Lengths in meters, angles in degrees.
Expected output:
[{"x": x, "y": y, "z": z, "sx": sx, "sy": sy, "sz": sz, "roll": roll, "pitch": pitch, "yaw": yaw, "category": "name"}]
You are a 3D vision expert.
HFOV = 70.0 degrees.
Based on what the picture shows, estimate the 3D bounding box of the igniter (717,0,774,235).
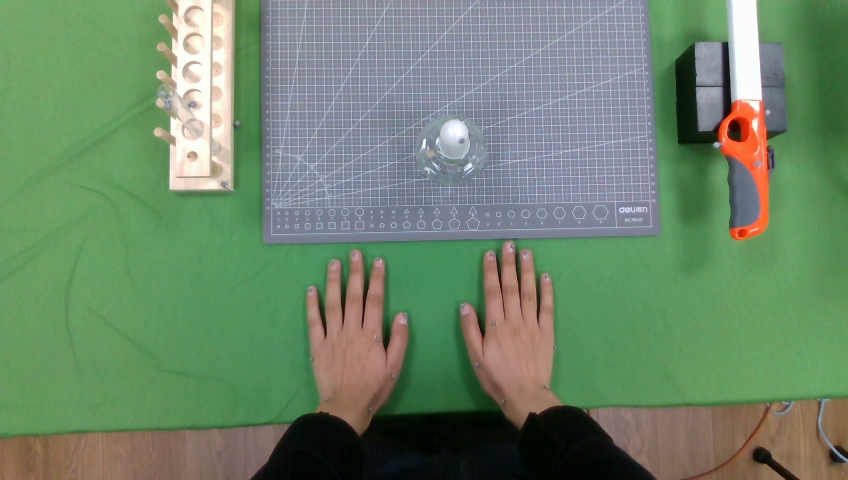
[{"x": 0.342, "y": -0.142, "z": 0.648, "sx": 0.057, "sy": 0.025, "sz": 0.276, "roll": 1, "pitch": 84, "yaw": 1, "category": "igniter"}]

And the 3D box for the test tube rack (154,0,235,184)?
[{"x": -0.247, "y": -0.186, "z": 0.646, "sx": 0.067, "sy": 0.085, "sz": 0.242, "roll": -1, "pitch": 86, "yaw": -1, "category": "test tube rack"}]

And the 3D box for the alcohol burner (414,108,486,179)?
[{"x": 0.028, "y": -0.104, "z": 0.634, "sx": 0.078, "sy": 0.119, "sz": 0.078, "roll": 0, "pitch": 87, "yaw": -1, "category": "alcohol burner"}]

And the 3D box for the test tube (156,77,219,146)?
[{"x": -0.227, "y": -0.122, "z": 0.593, "sx": 0.017, "sy": 0.150, "sz": 0.017, "roll": 1, "pitch": 80, "yaw": -4, "category": "test tube"}]

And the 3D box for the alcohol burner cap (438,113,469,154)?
[{"x": 0.029, "y": -0.108, "z": 0.598, "sx": 0.034, "sy": 0.048, "sz": 0.033, "roll": 0, "pitch": 80, "yaw": 1, "category": "alcohol burner cap"}]
